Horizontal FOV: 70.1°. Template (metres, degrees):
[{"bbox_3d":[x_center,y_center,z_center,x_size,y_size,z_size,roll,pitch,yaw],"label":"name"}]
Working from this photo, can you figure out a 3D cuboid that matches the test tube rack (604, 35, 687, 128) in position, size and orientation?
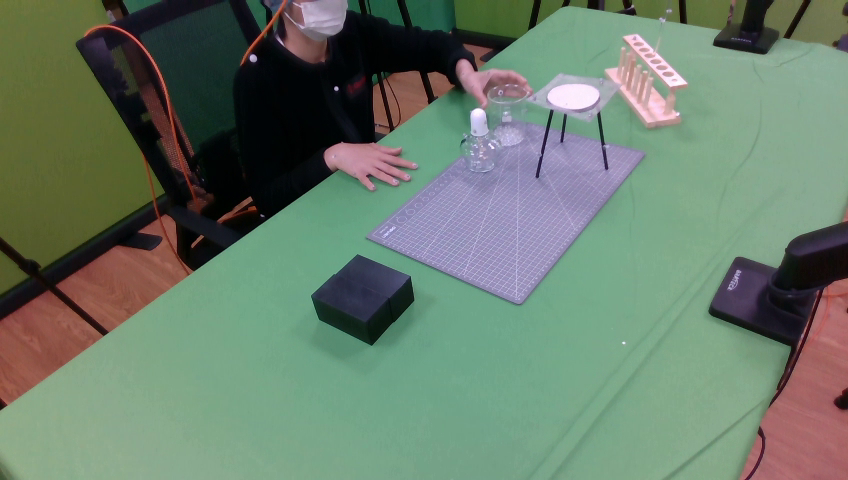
[{"bbox_3d":[0.447,-0.330,1.241,0.067,0.085,0.241,-9,41,-2],"label":"test tube rack"}]

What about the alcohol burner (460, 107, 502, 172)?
[{"bbox_3d":[0.102,-0.185,1.098,0.078,0.119,0.077,-6,40,5],"label":"alcohol burner"}]

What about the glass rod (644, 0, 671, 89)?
[{"bbox_3d":[0.463,-0.387,1.204,0.008,0.200,0.008,0,47,1],"label":"glass rod"}]

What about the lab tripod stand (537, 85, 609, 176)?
[{"bbox_3d":[0.259,-0.192,1.068,0.148,0.132,0.147,-4,42,4],"label":"lab tripod stand"}]

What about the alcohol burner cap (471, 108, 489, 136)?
[{"bbox_3d":[0.098,-0.211,1.074,0.034,0.048,0.033,-6,42,6],"label":"alcohol burner cap"}]

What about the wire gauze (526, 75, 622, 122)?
[{"bbox_3d":[0.255,-0.248,1.030,0.124,0.011,0.122,24,51,32],"label":"wire gauze"}]

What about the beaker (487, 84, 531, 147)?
[{"bbox_3d":[0.163,-0.237,1.161,0.084,0.101,0.073,-10,41,-3],"label":"beaker"}]
